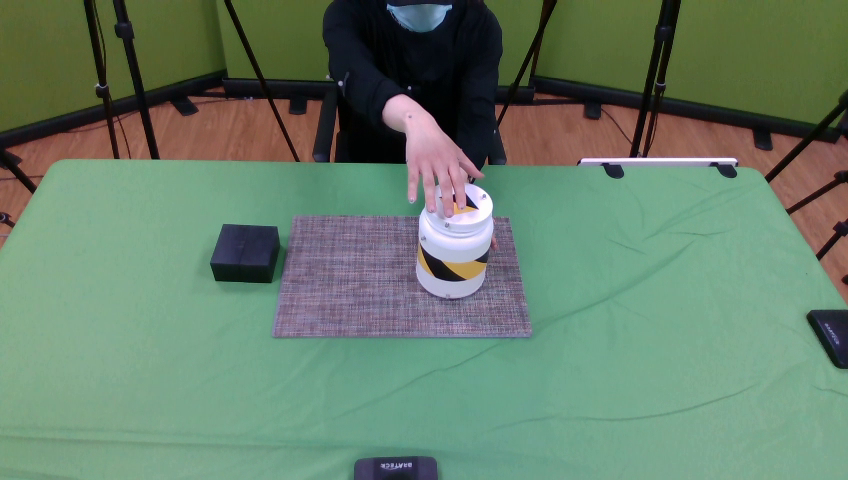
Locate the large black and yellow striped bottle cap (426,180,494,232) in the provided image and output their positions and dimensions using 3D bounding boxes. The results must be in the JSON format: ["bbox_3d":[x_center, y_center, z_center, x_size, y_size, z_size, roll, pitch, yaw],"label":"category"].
[{"bbox_3d":[0.060,-0.059,1.017,0.115,0.019,0.114,1,44,-1],"label":"large black and yellow striped bottle cap"}]

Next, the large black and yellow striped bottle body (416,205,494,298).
[{"bbox_3d":[0.054,0.001,1.080,0.131,0.185,0.130,2,46,-2],"label":"large black and yellow striped bottle body"}]
